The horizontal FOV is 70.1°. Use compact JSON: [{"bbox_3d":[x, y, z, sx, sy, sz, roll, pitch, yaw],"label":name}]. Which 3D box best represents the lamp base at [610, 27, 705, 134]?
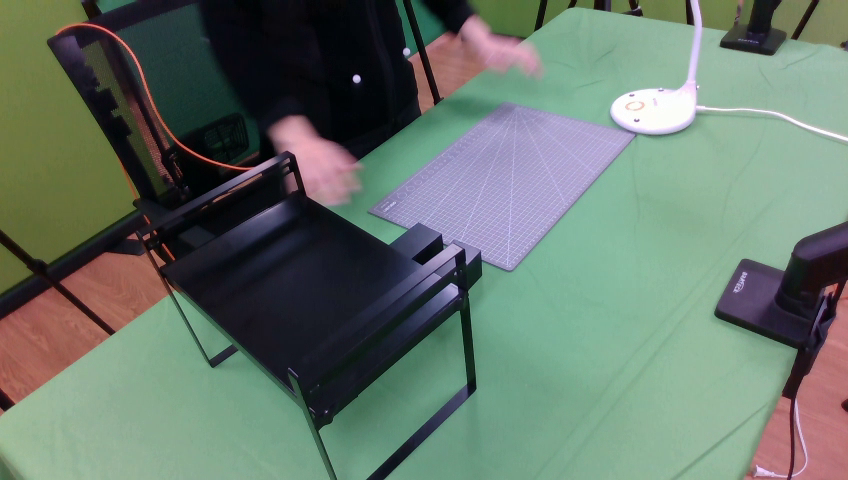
[{"bbox_3d":[0.458,-0.316,1.154,0.179,0.181,0.159,-5,41,-1],"label":"lamp base"}]
